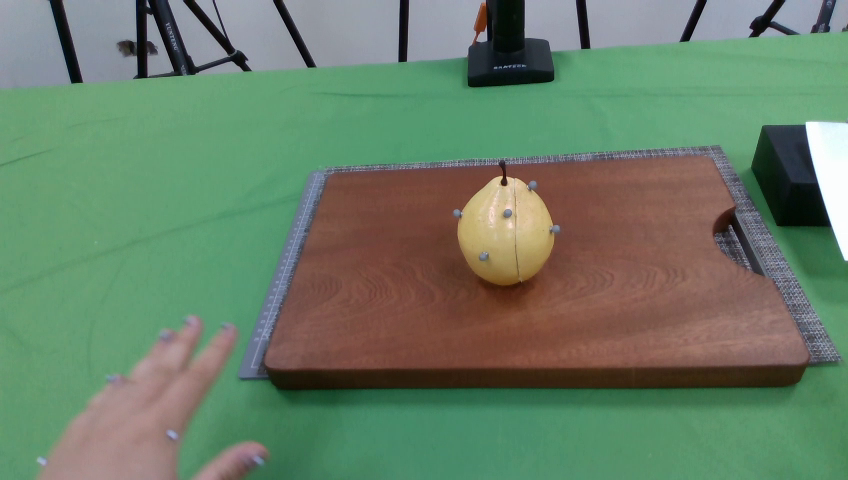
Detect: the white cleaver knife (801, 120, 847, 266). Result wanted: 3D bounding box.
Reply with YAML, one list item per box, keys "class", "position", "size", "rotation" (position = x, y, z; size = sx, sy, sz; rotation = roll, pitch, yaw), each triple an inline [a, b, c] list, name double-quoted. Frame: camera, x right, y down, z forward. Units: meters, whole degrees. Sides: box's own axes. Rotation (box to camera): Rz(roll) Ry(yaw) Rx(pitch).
- class: "white cleaver knife"
  position: [0.368, 0.001, 0.494]
  size: [0.066, 0.022, 0.284]
  rotation: [-1, 51, 13]

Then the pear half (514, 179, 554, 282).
- class: "pear half"
  position: [0.089, -0.009, 0.488]
  size: [0.031, 0.089, 0.070]
  rotation: [-2, 33, 7]

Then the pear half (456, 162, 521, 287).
- class: "pear half"
  position: [0.052, -0.016, 0.488]
  size: [0.056, 0.111, 0.075]
  rotation: [-2, 37, 7]
